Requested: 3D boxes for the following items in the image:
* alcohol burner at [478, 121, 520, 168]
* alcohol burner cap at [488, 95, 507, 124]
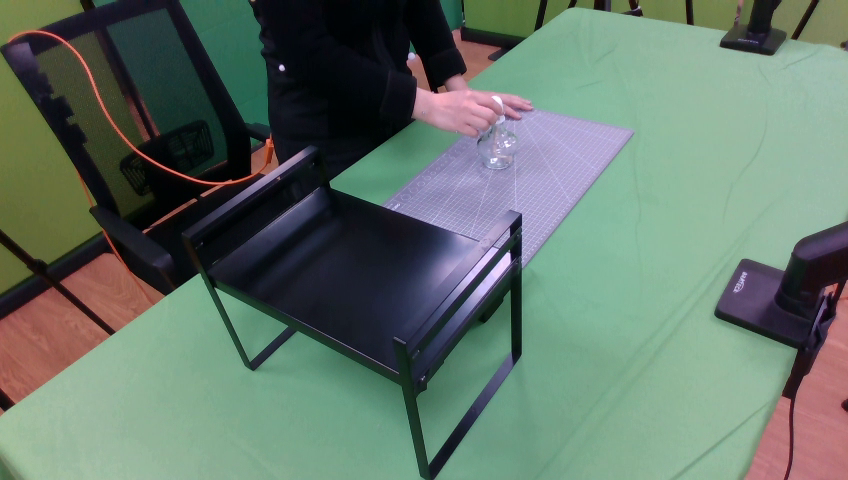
[{"bbox_3d":[0.136,-0.193,1.106,0.078,0.119,0.077,-5,39,4],"label":"alcohol burner"},{"bbox_3d":[0.129,-0.233,1.072,0.034,0.048,0.033,-7,42,7],"label":"alcohol burner cap"}]
